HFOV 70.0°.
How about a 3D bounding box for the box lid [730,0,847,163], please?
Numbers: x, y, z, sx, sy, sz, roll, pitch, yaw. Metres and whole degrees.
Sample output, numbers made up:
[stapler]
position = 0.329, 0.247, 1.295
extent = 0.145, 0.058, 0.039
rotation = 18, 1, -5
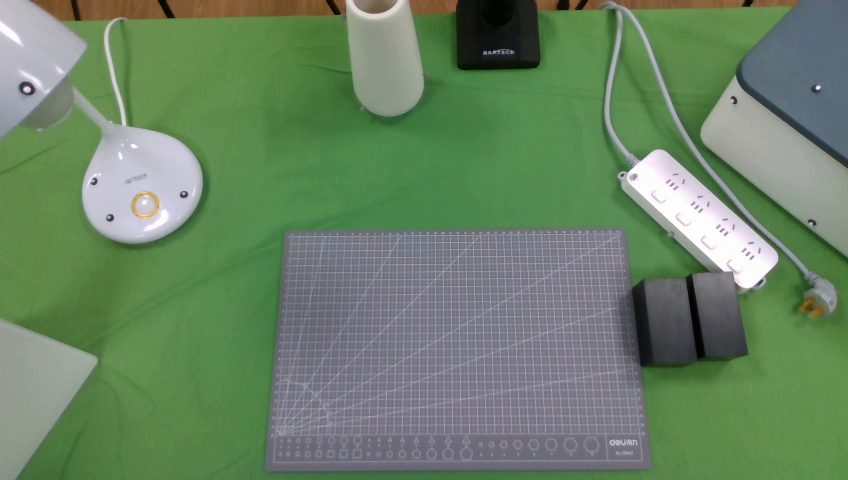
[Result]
[box lid]
position = 0.562, -0.164, 0.675
extent = 0.369, 0.015, 0.263
rotation = 43, 79, 13

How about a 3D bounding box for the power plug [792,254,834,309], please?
[power plug]
position = 0.477, 0.057, 0.762
extent = 0.053, 0.035, 0.072
rotation = -28, 35, -7

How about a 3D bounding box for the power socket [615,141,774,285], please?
[power socket]
position = 0.349, -0.037, 0.785
extent = 0.072, 0.033, 0.225
rotation = -39, 75, -11

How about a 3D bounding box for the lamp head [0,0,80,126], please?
[lamp head]
position = -0.357, -0.164, 0.471
extent = 0.112, 0.124, 0.111
rotation = -28, 37, 24

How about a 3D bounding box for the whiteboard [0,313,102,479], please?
[whiteboard]
position = -0.556, 0.139, 0.632
extent = 0.143, 0.308, 0.216
rotation = 23, 73, 29

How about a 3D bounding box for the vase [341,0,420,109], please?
[vase]
position = -0.056, -0.254, 0.775
extent = 0.098, 0.201, 0.097
rotation = 0, 70, 0

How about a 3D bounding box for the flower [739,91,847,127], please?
[flower]
position = 0.609, -0.145, 0.820
extent = 0.358, 0.038, 0.044
rotation = 29, 65, 29

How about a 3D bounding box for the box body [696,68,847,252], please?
[box body]
position = 0.563, -0.141, 0.746
extent = 0.362, 0.161, 0.254
rotation = 43, 78, 13

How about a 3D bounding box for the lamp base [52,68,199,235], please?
[lamp base]
position = -0.392, -0.116, 0.745
extent = 0.160, 0.181, 0.178
rotation = -31, 71, -9
